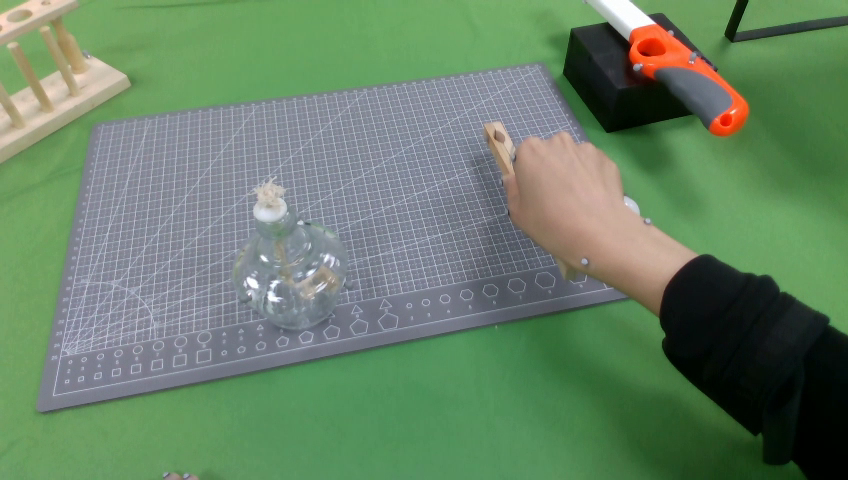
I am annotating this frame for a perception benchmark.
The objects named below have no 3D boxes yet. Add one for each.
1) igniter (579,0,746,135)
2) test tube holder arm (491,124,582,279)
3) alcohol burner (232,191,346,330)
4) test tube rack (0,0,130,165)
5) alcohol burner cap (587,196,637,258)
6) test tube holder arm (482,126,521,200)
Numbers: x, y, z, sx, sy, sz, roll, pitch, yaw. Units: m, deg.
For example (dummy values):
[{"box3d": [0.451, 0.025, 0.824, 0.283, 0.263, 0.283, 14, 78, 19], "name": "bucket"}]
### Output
[{"box3d": [0.203, -0.184, 0.558, 0.057, 0.025, 0.273, -16, 50, -9], "name": "igniter"}, {"box3d": [0.084, -0.037, 0.479, 0.013, 0.015, 0.176, -19, 47, -3], "name": "test tube holder arm"}, {"box3d": [-0.093, 0.009, 0.405, 0.078, 0.120, 0.077, -1, 52, 1], "name": "alcohol burner"}, {"box3d": [-0.398, -0.121, 0.538, 0.066, 0.086, 0.242, 30, 57, 23], "name": "test tube rack"}, {"box3d": [0.146, -0.013, 0.466, 0.034, 0.048, 0.033, 0, 50, 0], "name": "alcohol burner cap"}, {"box3d": [0.067, -0.066, 0.509, 0.010, 0.015, 0.087, -18, 47, -2], "name": "test tube holder arm"}]
